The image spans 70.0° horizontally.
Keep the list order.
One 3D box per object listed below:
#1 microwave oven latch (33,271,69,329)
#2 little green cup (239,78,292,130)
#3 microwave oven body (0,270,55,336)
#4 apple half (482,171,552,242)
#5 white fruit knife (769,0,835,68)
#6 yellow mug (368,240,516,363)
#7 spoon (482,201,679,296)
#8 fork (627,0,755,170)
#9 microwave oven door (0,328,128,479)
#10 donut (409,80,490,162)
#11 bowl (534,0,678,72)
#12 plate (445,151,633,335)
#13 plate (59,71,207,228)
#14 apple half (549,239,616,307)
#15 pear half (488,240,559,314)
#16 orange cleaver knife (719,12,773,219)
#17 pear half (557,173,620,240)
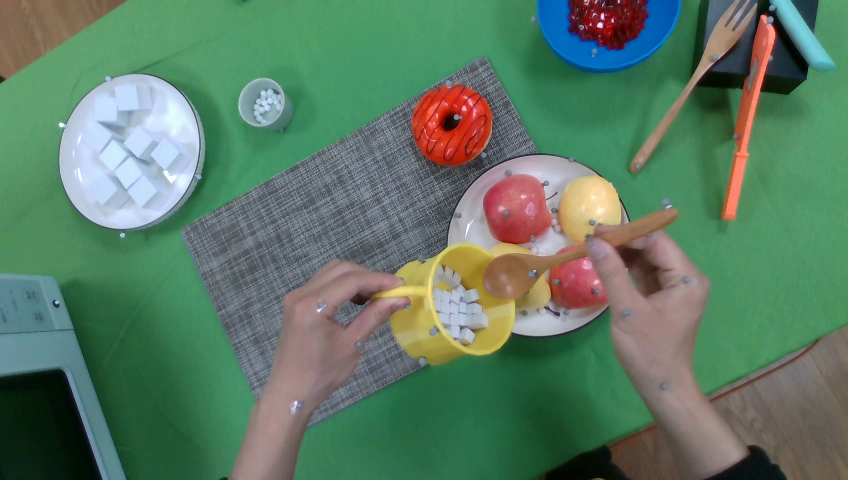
[{"bbox_3d":[-0.491,0.080,0.786,0.030,0.029,0.079,-23,83,7],"label":"microwave oven latch"},{"bbox_3d":[-0.199,-0.170,0.770,0.061,0.039,0.061,-1,85,11],"label":"little green cup"},{"bbox_3d":[-0.569,0.294,0.686,0.326,0.261,0.440,-26,82,7],"label":"microwave oven body"},{"bbox_3d":[0.103,-0.038,0.682,0.074,0.053,0.080,-11,87,10],"label":"apple half"},{"bbox_3d":[0.364,-0.266,0.634,0.027,0.016,0.206,-22,79,-21],"label":"white fruit knife"},{"bbox_3d":[0.012,0.054,0.533,0.064,0.132,0.099,-25,62,49],"label":"yellow mug"},{"bbox_3d":[0.115,0.010,0.480,0.021,0.193,0.041,-32,93,-38],"label":"spoon"},{"bbox_3d":[0.282,-0.164,0.655,0.028,0.018,0.208,30,112,3],"label":"fork"},{"bbox_3d":[-0.423,0.270,0.656,0.039,0.245,0.354,-26,81,7],"label":"microwave oven door"},{"bbox_3d":[0.030,-0.140,0.718,0.099,0.048,0.099,-1,87,13],"label":"donut"},{"bbox_3d":[0.200,-0.253,0.682,0.151,0.077,0.151,-1,86,10],"label":"bowl"},{"bbox_3d":[0.129,0.004,0.692,0.209,0.038,0.208,-1,85,10],"label":"plate"},{"bbox_3d":[-0.377,-0.117,0.799,0.207,0.039,0.207,-1,86,11],"label":"plate"},{"bbox_3d":[0.166,0.038,0.665,0.081,0.033,0.081,2,95,33],"label":"apple half"},{"bbox_3d":[0.108,0.049,0.679,0.109,0.056,0.076,35,97,5],"label":"pear half"},{"bbox_3d":[0.340,-0.129,0.644,0.012,0.077,0.212,8,113,16],"label":"orange cleaver knife"},{"bbox_3d":[0.178,-0.030,0.671,0.070,0.031,0.088,3,96,34],"label":"pear half"}]
